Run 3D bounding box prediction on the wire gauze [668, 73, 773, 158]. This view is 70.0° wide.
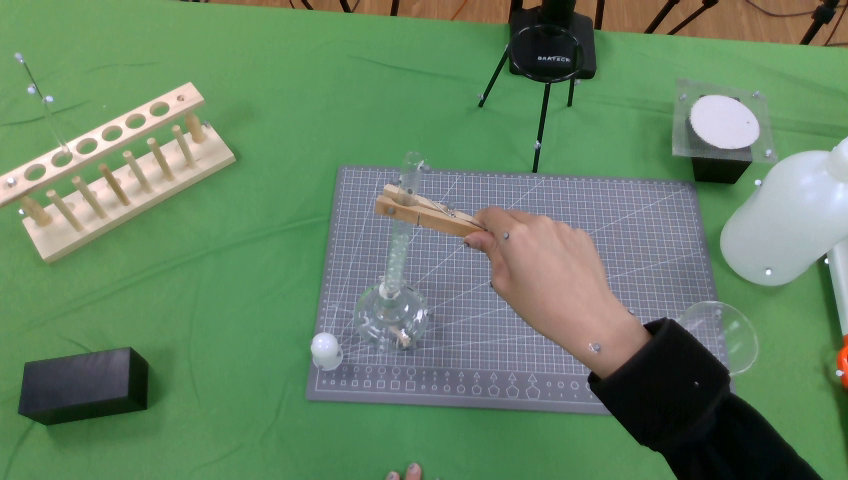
[{"bbox_3d":[0.365,-0.154,0.751,0.121,0.011,0.124,10,61,4],"label":"wire gauze"}]

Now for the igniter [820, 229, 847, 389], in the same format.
[{"bbox_3d":[0.468,0.107,0.658,0.057,0.025,0.274,12,61,-7],"label":"igniter"}]

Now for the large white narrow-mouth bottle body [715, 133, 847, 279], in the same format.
[{"bbox_3d":[0.395,-0.041,0.640,0.102,0.196,0.101,1,61,-1],"label":"large white narrow-mouth bottle body"}]

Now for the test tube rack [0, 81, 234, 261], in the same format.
[{"bbox_3d":[-0.355,-0.082,0.703,0.242,0.086,0.066,-34,68,-18],"label":"test tube rack"}]

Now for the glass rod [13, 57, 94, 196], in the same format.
[{"bbox_3d":[-0.388,-0.109,0.642,0.008,0.201,0.008,3,53,-4],"label":"glass rod"}]

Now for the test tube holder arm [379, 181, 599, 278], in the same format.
[{"bbox_3d":[0.047,-0.009,0.465,0.178,0.015,0.013,21,50,9],"label":"test tube holder arm"}]

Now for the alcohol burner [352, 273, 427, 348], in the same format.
[{"bbox_3d":[-0.035,0.065,0.614,0.078,0.120,0.077,2,60,-3],"label":"alcohol burner"}]

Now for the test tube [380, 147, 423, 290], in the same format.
[{"bbox_3d":[-0.020,-0.012,0.491,0.017,0.151,0.017,7,44,-6],"label":"test tube"}]

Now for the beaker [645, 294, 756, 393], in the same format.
[{"bbox_3d":[0.268,0.107,0.608,0.084,0.101,0.073,8,61,4],"label":"beaker"}]

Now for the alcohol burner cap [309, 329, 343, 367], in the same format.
[{"bbox_3d":[-0.103,0.110,0.628,0.034,0.048,0.033,0,63,1],"label":"alcohol burner cap"}]

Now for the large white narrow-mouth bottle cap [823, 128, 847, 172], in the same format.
[{"bbox_3d":[0.396,-0.084,0.565,0.038,0.024,0.037,1,61,-1],"label":"large white narrow-mouth bottle cap"}]

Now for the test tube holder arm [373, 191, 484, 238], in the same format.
[{"bbox_3d":[0.003,-0.019,0.467,0.088,0.015,0.010,15,48,5],"label":"test tube holder arm"}]

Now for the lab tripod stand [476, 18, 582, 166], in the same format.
[{"bbox_3d":[0.137,-0.188,0.748,0.148,0.132,0.147,1,62,-2],"label":"lab tripod stand"}]
